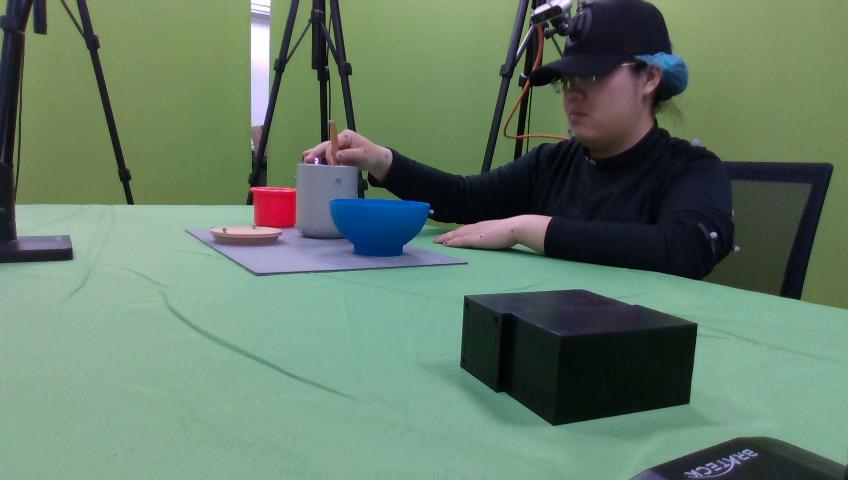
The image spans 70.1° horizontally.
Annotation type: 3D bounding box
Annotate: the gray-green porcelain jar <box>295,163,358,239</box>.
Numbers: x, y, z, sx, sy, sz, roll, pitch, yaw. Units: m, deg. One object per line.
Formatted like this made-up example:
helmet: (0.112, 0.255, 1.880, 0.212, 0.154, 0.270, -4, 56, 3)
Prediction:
gray-green porcelain jar: (-0.170, -0.069, 1.054, 0.106, 0.126, 0.106, 3, 7, 0)

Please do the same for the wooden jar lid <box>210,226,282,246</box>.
wooden jar lid: (-0.279, -0.007, 0.951, 0.108, 0.020, 0.108, 2, 8, 0)

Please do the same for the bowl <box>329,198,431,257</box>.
bowl: (-0.067, -0.019, 0.895, 0.151, 0.077, 0.151, 3, 7, 0)

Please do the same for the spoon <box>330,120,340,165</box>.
spoon: (-0.154, -0.109, 1.043, 0.021, 0.193, 0.042, 21, 26, 37)
